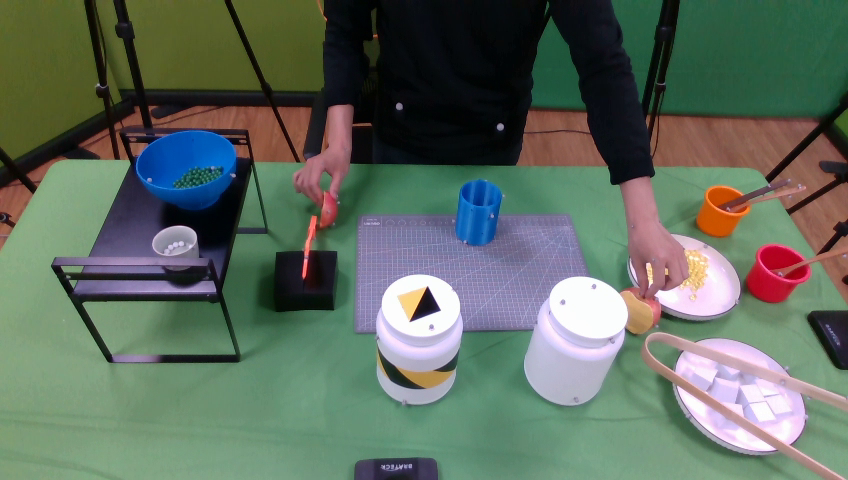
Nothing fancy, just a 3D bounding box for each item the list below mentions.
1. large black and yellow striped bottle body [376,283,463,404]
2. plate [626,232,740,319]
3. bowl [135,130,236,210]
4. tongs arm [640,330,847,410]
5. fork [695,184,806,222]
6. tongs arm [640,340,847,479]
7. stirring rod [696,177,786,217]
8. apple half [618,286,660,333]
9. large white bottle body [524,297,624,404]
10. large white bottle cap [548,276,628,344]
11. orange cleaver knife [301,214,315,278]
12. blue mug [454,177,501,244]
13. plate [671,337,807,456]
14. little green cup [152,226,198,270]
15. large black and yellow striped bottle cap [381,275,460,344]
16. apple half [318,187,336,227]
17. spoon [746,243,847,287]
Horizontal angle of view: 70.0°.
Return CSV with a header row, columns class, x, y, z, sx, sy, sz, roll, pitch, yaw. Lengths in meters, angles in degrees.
class,x,y,z,sx,sy,sz,roll,pitch,yaw
large black and yellow striped bottle body,-0.010,0.155,0.937,0.131,0.185,0.130,2,47,-2
plate,0.489,0.071,1.156,0.209,0.038,0.208,3,46,-2
bowl,-0.375,-0.102,0.978,0.151,0.077,0.150,3,46,-2
tongs arm,0.543,0.225,0.969,0.384,0.026,0.050,22,52,13
fork,0.658,-0.074,1.229,0.207,0.019,0.028,-23,34,36
tongs arm,0.500,0.277,0.919,0.386,0.028,0.028,34,59,22
stirring rod,0.648,-0.087,1.244,0.176,0.006,0.014,-25,51,29
apple half,0.383,0.120,1.077,0.053,0.075,0.080,-18,41,-35
large white bottle body,0.235,0.159,0.952,0.131,0.185,0.130,2,47,-2
large white bottle cap,0.240,0.100,0.890,0.115,0.018,0.114,3,47,-3
orange cleaver knife,-0.218,0.007,1.131,0.012,0.077,0.210,7,19,-9
blue mug,0.106,-0.067,1.208,0.082,0.106,0.116,6,46,1
plate,0.504,0.254,0.984,0.208,0.039,0.206,2,46,-2
little green cup,-0.364,0.013,0.894,0.061,0.039,0.061,3,46,-3
large black and yellow striped bottle cap,-0.005,0.098,0.875,0.115,0.019,0.114,2,45,-1
apple half,-0.192,-0.066,1.207,0.033,0.081,0.081,7,46,-10
spoon,0.702,0.044,1.126,0.194,0.022,0.041,-29,38,30
